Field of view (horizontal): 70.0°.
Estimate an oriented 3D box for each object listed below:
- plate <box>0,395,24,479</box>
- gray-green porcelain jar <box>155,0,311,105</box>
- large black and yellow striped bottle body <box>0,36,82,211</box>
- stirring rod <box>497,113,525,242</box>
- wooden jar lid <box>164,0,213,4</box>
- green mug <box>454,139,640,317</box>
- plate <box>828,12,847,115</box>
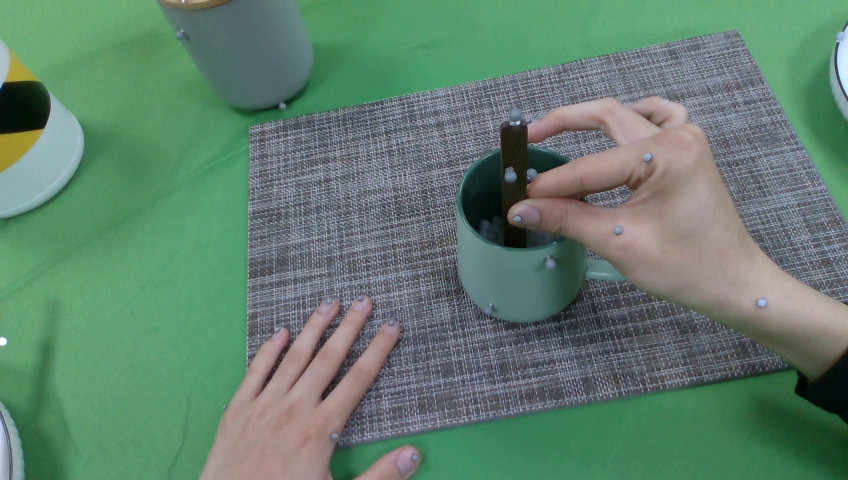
[{"bbox_3d":[-0.367,0.188,0.409,0.209,0.038,0.207,-3,61,6],"label":"plate"},{"bbox_3d":[-0.163,-0.193,0.536,0.106,0.127,0.105,-3,61,6],"label":"gray-green porcelain jar"},{"bbox_3d":[-0.395,-0.121,0.495,0.130,0.185,0.129,-3,61,6],"label":"large black and yellow striped bottle body"},{"bbox_3d":[0.053,-0.012,0.362,0.014,0.178,0.005,-9,56,3],"label":"stirring rod"},{"bbox_3d":[-0.172,-0.224,0.482,0.108,0.021,0.107,-3,64,6],"label":"wooden jar lid"},{"bbox_3d":[0.080,-0.003,0.407,0.125,0.106,0.092,10,63,12],"label":"green mug"},{"bbox_3d":[0.422,-0.122,0.465,0.207,0.039,0.206,-3,61,7],"label":"plate"}]
